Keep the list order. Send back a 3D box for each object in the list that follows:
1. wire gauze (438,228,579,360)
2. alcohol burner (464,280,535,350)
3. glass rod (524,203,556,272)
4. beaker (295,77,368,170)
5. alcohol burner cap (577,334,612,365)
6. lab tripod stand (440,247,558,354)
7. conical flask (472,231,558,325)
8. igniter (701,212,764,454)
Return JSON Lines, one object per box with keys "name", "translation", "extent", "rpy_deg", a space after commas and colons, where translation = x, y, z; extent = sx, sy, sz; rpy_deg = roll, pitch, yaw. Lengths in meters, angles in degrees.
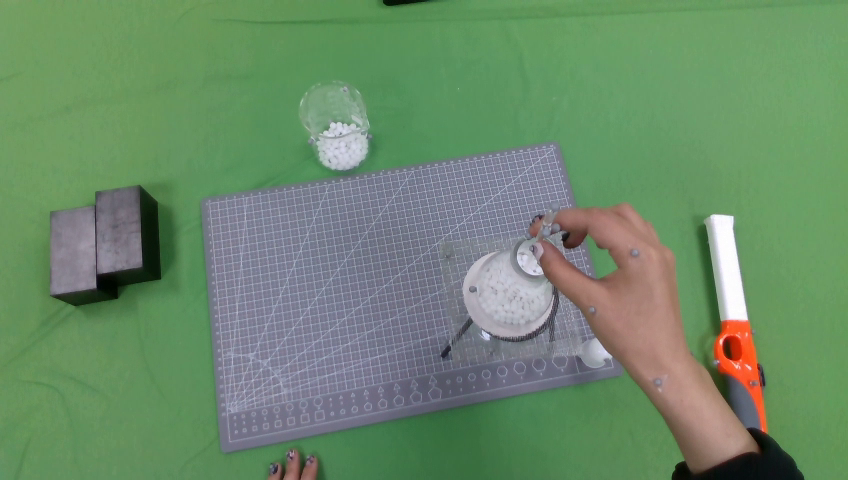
{"name": "wire gauze", "translation": [0.079, 0.051, 0.576], "extent": [0.125, 0.011, 0.121], "rpy_deg": [-4, 75, -4]}
{"name": "alcohol burner", "translation": [0.082, 0.077, 0.647], "extent": [0.078, 0.120, 0.077], "rpy_deg": [0, 72, 1]}
{"name": "glass rod", "translation": [0.087, 0.004, 0.466], "extent": [0.008, 0.201, 0.008], "rpy_deg": [-1, 76, 5]}
{"name": "beaker", "translation": [-0.103, -0.133, 0.720], "extent": [0.084, 0.101, 0.073], "rpy_deg": [25, 74, 6]}
{"name": "alcohol burner cap", "translation": [0.192, 0.120, 0.673], "extent": [0.034, 0.048, 0.033], "rpy_deg": [0, 72, 0]}
{"name": "lab tripod stand", "translation": [0.081, 0.072, 0.638], "extent": [0.148, 0.132, 0.147], "rpy_deg": [0, 74, -1]}
{"name": "conical flask", "translation": [0.084, 0.028, 0.521], "extent": [0.075, 0.122, 0.075], "rpy_deg": [0, 74, -1]}
{"name": "igniter", "translation": [0.352, 0.100, 0.694], "extent": [0.057, 0.025, 0.275], "rpy_deg": [4, 72, -11]}
